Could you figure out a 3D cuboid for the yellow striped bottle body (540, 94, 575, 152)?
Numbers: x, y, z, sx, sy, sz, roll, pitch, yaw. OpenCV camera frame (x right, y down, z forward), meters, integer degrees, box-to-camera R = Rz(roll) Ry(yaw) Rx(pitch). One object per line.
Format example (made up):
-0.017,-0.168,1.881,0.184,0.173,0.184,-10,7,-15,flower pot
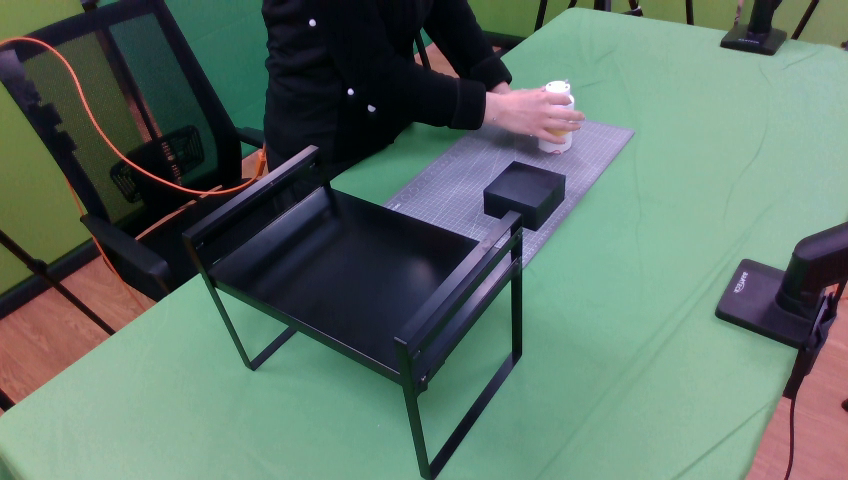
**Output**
0.248,-0.230,1.126,0.063,0.121,0.062,-5,41,5,yellow striped bottle body

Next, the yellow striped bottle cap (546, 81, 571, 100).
0.243,-0.270,1.091,0.044,0.019,0.044,-3,39,3,yellow striped bottle cap
